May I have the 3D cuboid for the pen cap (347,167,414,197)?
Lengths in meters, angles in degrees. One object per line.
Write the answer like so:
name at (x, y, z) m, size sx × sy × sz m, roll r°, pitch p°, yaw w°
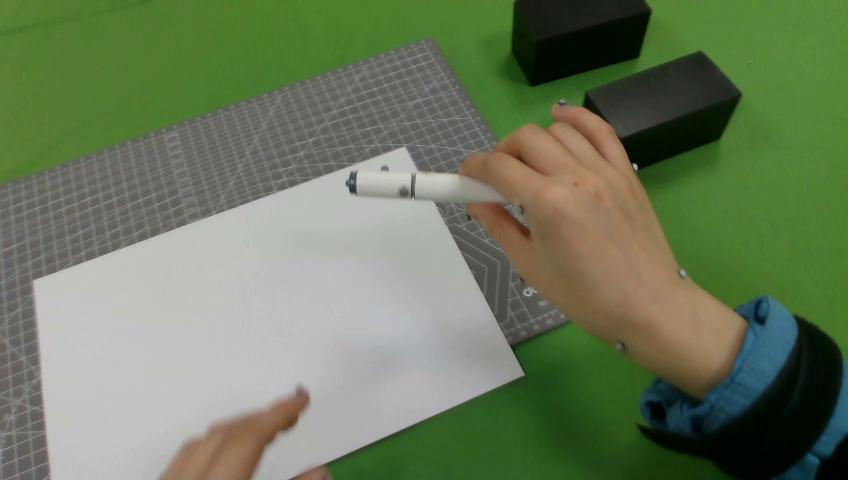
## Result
pen cap at (-0.025, -0.034, 0.349) m, size 0.038 × 0.017 × 0.017 m, roll 4°, pitch 60°, yaw 5°

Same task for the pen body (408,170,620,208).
pen body at (0.037, -0.029, 0.345) m, size 0.144 × 0.017 × 0.017 m, roll 4°, pitch 60°, yaw 5°
